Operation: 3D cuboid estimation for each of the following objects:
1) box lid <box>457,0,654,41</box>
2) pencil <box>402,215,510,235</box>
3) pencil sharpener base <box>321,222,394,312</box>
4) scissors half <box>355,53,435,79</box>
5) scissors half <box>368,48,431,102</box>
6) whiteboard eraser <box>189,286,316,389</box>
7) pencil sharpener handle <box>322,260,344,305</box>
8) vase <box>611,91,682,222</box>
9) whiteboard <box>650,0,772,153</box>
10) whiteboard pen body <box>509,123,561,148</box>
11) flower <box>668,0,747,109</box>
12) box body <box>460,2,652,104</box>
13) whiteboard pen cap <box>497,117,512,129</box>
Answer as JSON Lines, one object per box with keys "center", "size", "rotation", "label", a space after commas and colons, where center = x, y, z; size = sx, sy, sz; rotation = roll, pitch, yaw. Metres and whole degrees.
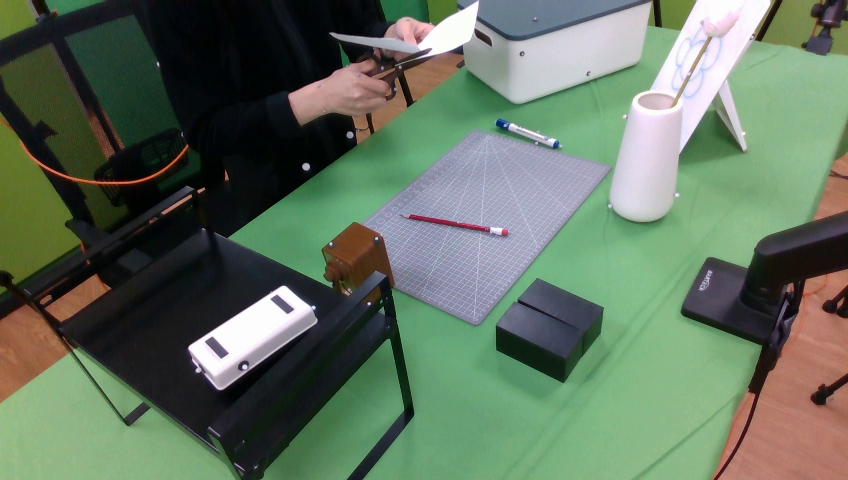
{"center": [0.285, -0.522, 1.323], "size": [0.373, 0.015, 0.261], "rotation": [-22, 43, -16], "label": "box lid"}
{"center": [0.049, -0.027, 1.007], "size": [0.193, 0.012, 0.012], "rotation": [10, 43, 21], "label": "pencil"}
{"center": [-0.096, 0.041, 0.873], "size": [0.061, 0.107, 0.077], "rotation": [26, 54, 32], "label": "pencil sharpener base"}
{"center": [-0.048, -0.268, 0.912], "size": [0.173, 0.040, 0.013], "rotation": [9, 48, 43], "label": "scissors half"}
{"center": [-0.036, -0.251, 0.920], "size": [0.013, 0.040, 0.174], "rotation": [-45, 12, -31], "label": "scissors half"}
{"center": [-0.166, 0.096, 0.593], "size": [0.113, 0.042, 0.055], "rotation": [-36, 47, -29], "label": "whiteboard eraser"}
{"center": [-0.131, 0.061, 0.839], "size": [0.035, 0.068, 0.031], "rotation": [29, 56, 28], "label": "pencil sharpener handle"}
{"center": [0.348, -0.125, 0.935], "size": [0.098, 0.201, 0.097], "rotation": [-3, 40, 3], "label": "vase"}
{"center": [0.543, -0.298, 1.076], "size": [0.144, 0.305, 0.216], "rotation": [12, 40, -7], "label": "whiteboard"}
{"center": [0.209, -0.211, 1.195], "size": [0.139, 0.017, 0.017], "rotation": [29, 52, 33], "label": "whiteboard pen body"}
{"center": [0.354, -0.187, 0.879], "size": [0.038, 0.362, 0.044], "rotation": [31, 48, 14], "label": "flower"}
{"center": [0.291, -0.465, 1.371], "size": [0.365, 0.161, 0.252], "rotation": [-22, 42, -16], "label": "box body"}
{"center": [0.165, -0.235, 1.226], "size": [0.033, 0.018, 0.018], "rotation": [32, 53, 31], "label": "whiteboard pen cap"}
